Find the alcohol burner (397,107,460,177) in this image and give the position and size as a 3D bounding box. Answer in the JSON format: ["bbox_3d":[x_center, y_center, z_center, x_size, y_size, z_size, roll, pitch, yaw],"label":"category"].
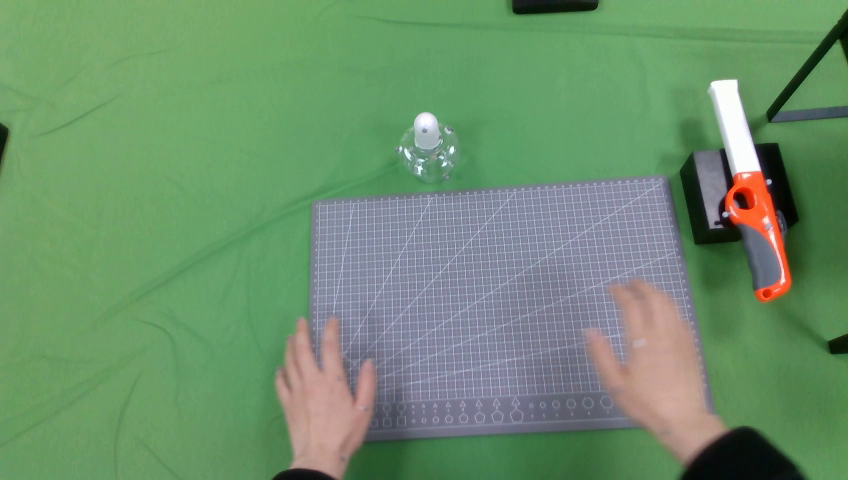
[{"bbox_3d":[0.004,-0.125,0.733,0.078,0.120,0.077,-2,71,5],"label":"alcohol burner"}]

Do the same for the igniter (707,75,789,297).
[{"bbox_3d":[0.364,-0.068,0.685,0.057,0.025,0.274,-3,68,5],"label":"igniter"}]

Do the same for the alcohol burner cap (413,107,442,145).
[{"bbox_3d":[0.003,-0.136,0.704,0.034,0.048,0.033,-2,72,5],"label":"alcohol burner cap"}]
